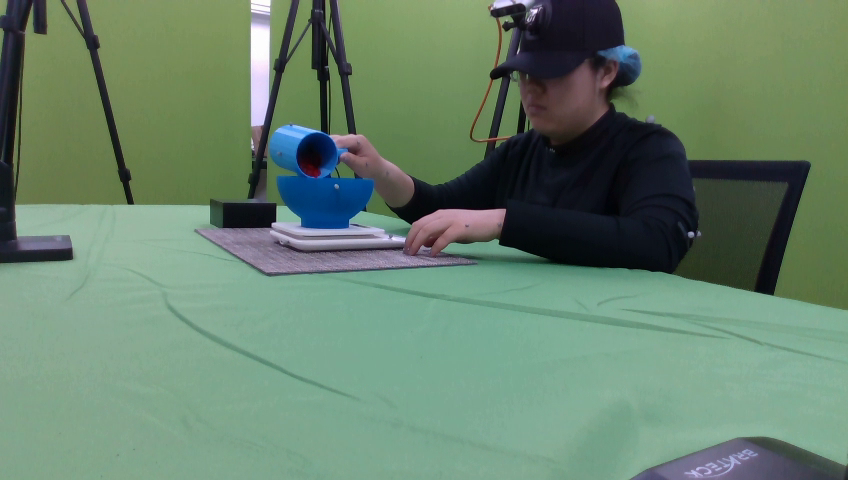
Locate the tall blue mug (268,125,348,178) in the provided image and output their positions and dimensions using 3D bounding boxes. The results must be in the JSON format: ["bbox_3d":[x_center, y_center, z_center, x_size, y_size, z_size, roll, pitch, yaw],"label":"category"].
[{"bbox_3d":[-0.189,-0.155,1.006,0.107,0.078,0.107,-36,33,-23],"label":"tall blue mug"}]

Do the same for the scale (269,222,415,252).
[{"bbox_3d":[-0.130,-0.008,0.958,0.202,0.031,0.148,-1,9,-32],"label":"scale"}]

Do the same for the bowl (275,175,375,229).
[{"bbox_3d":[-0.152,-0.059,0.932,0.151,0.077,0.151,2,7,0],"label":"bowl"}]
